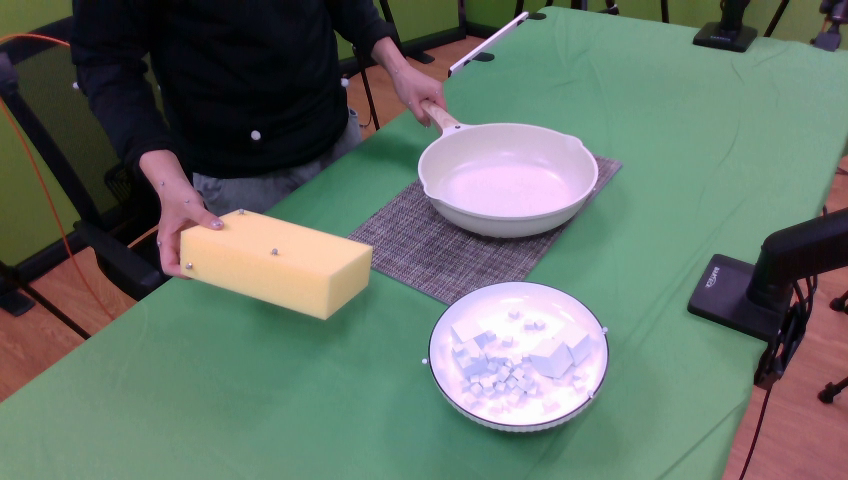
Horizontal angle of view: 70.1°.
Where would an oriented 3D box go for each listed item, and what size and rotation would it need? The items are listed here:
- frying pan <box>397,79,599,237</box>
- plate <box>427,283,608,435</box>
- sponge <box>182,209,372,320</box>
[{"bbox_3d":[0.083,-0.166,1.063,0.308,0.103,0.483,-21,50,-24],"label":"frying pan"},{"bbox_3d":[0.108,0.137,0.708,0.207,0.039,0.206,-4,42,4],"label":"plate"},{"bbox_3d":[-0.187,0.025,0.779,0.206,0.061,0.118,15,22,15],"label":"sponge"}]
